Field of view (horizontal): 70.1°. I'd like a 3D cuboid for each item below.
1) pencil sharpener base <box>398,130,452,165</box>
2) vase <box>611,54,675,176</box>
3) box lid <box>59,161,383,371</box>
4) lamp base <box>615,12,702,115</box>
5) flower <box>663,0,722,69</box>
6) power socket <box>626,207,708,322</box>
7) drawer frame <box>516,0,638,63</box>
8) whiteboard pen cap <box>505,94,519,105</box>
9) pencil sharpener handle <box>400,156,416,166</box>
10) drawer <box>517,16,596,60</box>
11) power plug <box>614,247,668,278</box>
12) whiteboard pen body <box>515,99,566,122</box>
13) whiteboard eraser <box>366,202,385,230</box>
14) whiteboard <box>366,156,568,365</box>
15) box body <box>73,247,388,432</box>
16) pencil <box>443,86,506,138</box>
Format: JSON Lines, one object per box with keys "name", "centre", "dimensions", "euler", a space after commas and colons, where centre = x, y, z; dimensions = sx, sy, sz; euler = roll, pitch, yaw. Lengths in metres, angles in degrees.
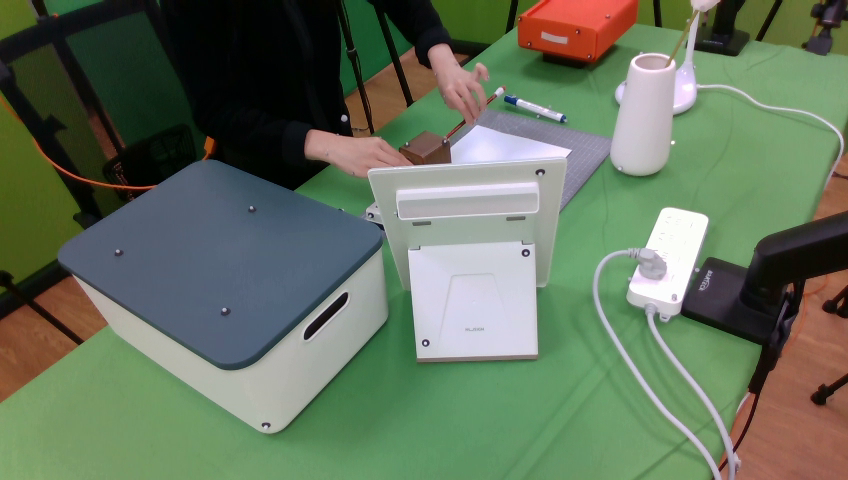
{"name": "pencil sharpener base", "centre": [0.004, -0.123, 1.049], "dimensions": [0.061, 0.107, 0.077], "euler": [28, 52, 34]}
{"name": "vase", "centre": [0.377, -0.209, 1.031], "dimensions": [0.098, 0.201, 0.097], "euler": [-3, 40, 3]}
{"name": "box lid", "centre": [-0.262, 0.010, 0.777], "dimensions": [0.369, 0.015, 0.264], "euler": [21, 48, 29]}
{"name": "lamp base", "centre": [0.484, -0.363, 1.211], "dimensions": [0.180, 0.181, 0.159], "euler": [-15, 41, -14]}
{"name": "flower", "centre": [0.379, -0.261, 0.965], "dimensions": [0.044, 0.362, 0.038], "euler": [20, 53, 5]}
{"name": "power socket", "centre": [0.359, 0.025, 0.886], "dimensions": [0.072, 0.033, 0.227], "euler": [16, 46, 26]}
{"name": "drawer frame", "centre": [0.355, -0.508, 1.410], "dimensions": [0.200, 0.083, 0.214], "euler": [23, 51, 32]}
{"name": "whiteboard pen cap", "centre": [0.190, -0.299, 1.292], "dimensions": [0.033, 0.018, 0.018], "euler": [29, 52, 28]}
{"name": "pencil sharpener handle", "centre": [-0.031, -0.104, 1.014], "dimensions": [0.035, 0.068, 0.031], "euler": [22, 49, 39]}
{"name": "drawer", "centre": [0.353, -0.506, 1.405], "dimensions": [0.193, 0.073, 0.212], "euler": [23, 49, 32]}
{"name": "power plug", "centre": [0.306, 0.031, 0.851], "dimensions": [0.072, 0.053, 0.035], "euler": [24, 49, 33]}
{"name": "whiteboard pen body", "centre": [0.234, -0.274, 1.262], "dimensions": [0.139, 0.017, 0.017], "euler": [28, 51, 29]}
{"name": "whiteboard eraser", "centre": [-0.038, -0.038, 1.006], "dimensions": [0.112, 0.042, 0.055], "euler": [16, 47, 25]}
{"name": "whiteboard", "centre": [0.059, 0.050, 0.738], "dimensions": [0.217, 0.307, 0.143], "euler": [-2, 60, 6]}
{"name": "box body", "centre": [-0.255, 0.065, 0.827], "dimensions": [0.361, 0.161, 0.255], "euler": [21, 48, 29]}
{"name": "pencil", "centre": [0.089, -0.228, 1.096], "dimensions": [0.012, 0.012, 0.194], "euler": [27, 57, 33]}
